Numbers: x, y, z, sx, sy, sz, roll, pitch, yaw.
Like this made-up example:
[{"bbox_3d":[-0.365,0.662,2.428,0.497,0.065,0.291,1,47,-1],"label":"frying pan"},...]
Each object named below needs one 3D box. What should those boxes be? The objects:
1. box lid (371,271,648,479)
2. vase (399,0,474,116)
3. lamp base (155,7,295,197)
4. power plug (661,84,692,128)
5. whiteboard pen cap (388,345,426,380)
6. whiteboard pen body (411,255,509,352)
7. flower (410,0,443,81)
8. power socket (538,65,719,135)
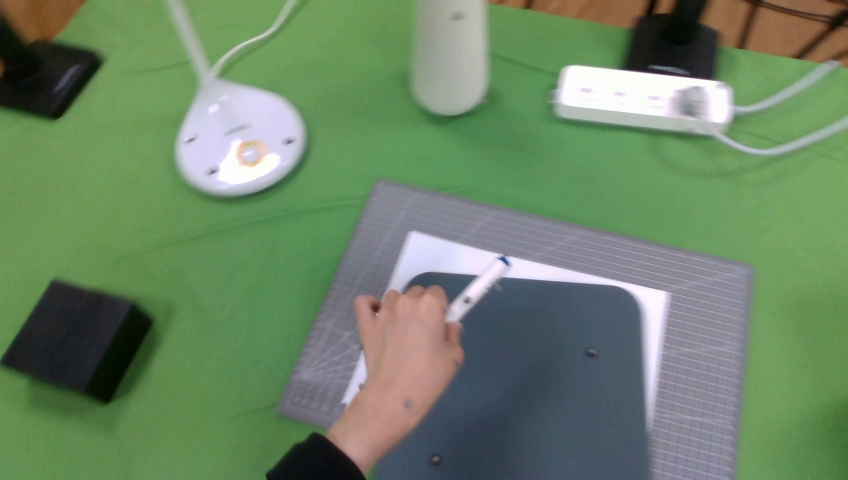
[{"bbox_3d":[0.084,0.202,0.592,0.263,0.015,0.368,4,62,4],"label":"box lid"},{"bbox_3d":[0.012,-0.243,0.732,0.098,0.201,0.097,-2,60,3],"label":"vase"},{"bbox_3d":[-0.258,-0.168,0.713,0.160,0.182,0.177,-36,63,-16],"label":"lamp base"},{"bbox_3d":[0.306,-0.159,0.741,0.035,0.053,0.072,18,70,12],"label":"power plug"},{"bbox_3d":[-0.014,0.106,0.533,0.033,0.018,0.018,-43,67,-15],"label":"whiteboard pen cap"},{"bbox_3d":[0.026,0.065,0.545,0.017,0.017,0.140,41,76,22],"label":"whiteboard pen body"},{"bbox_3d":[0.025,-0.271,0.653,0.044,0.362,0.038,-25,80,-20],"label":"flower"},{"bbox_3d":[0.263,-0.181,0.781,0.226,0.033,0.071,9,63,7],"label":"power socket"}]
